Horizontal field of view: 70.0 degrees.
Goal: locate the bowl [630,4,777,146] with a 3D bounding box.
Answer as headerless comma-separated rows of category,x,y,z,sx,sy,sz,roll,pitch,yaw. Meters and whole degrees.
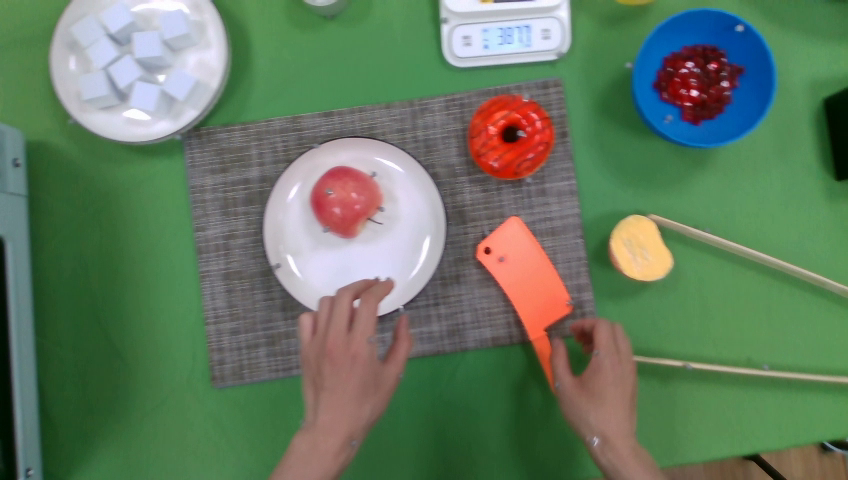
bowl,0.296,-0.172,0.673,0.151,0.077,0.151,0,88,2

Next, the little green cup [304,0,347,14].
little green cup,-0.117,-0.297,0.708,0.061,0.038,0.061,0,87,2

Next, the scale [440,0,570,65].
scale,0.091,-0.310,0.707,0.148,0.031,0.200,-4,88,2

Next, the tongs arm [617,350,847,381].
tongs arm,0.413,0.129,0.677,0.385,0.026,0.050,8,83,1

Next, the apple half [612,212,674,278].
apple half,0.239,0.010,0.684,0.082,0.033,0.080,7,68,-18

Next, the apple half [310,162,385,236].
apple half,-0.088,-0.049,0.677,0.081,0.053,0.074,-45,83,-1

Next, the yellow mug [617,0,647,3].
yellow mug,0.235,-0.343,0.687,0.100,0.064,0.130,-41,86,0

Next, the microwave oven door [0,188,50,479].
microwave oven door,-0.460,0.116,0.577,0.039,0.244,0.355,-6,87,1

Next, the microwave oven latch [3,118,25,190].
microwave oven latch,-0.475,-0.097,0.689,0.030,0.029,0.079,-3,88,1

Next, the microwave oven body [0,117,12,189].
microwave oven body,-0.609,0.087,0.587,0.326,0.260,0.441,-6,88,1

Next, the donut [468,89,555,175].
donut,0.098,-0.122,0.688,0.099,0.048,0.099,0,88,3

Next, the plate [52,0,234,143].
plate,-0.322,-0.214,0.709,0.207,0.039,0.207,0,87,1

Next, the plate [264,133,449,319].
plate,-0.075,-0.016,0.691,0.209,0.038,0.209,0,87,1

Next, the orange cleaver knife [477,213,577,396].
orange cleaver knife,0.133,0.071,0.690,0.077,0.012,0.211,-26,85,-4

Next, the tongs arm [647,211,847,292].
tongs arm,0.433,0.045,0.684,0.387,0.028,0.028,22,80,2
